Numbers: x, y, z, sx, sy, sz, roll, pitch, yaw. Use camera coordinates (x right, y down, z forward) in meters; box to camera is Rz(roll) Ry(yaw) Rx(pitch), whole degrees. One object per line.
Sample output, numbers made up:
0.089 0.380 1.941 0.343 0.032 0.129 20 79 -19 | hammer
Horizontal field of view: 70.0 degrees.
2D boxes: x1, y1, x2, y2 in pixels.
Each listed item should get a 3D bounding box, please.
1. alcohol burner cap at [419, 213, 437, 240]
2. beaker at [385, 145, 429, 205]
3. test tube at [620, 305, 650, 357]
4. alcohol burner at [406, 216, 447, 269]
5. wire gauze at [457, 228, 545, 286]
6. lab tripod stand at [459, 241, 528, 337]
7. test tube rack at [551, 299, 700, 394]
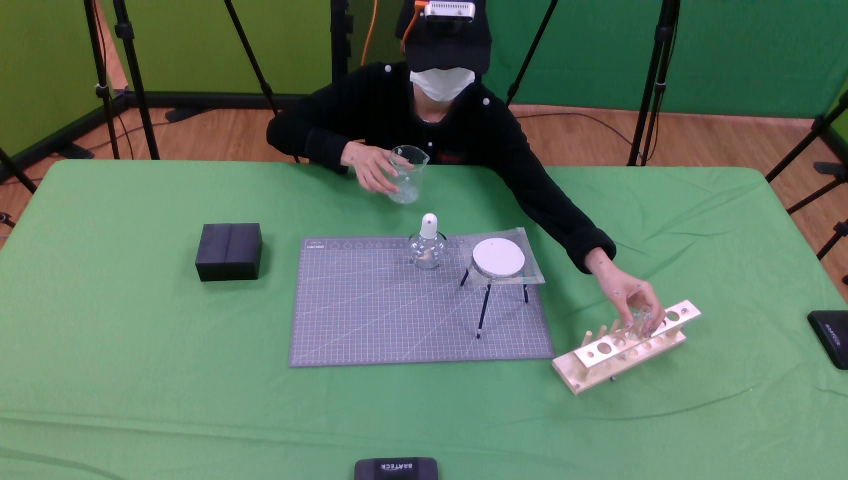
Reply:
0.009 -0.027 1.109 0.034 0.048 0.033 3 44 -3 | alcohol burner cap
-0.036 -0.126 1.200 0.084 0.101 0.073 -11 53 -19 | beaker
0.335 0.148 0.966 0.017 0.151 0.017 -1 52 2 | test tube
0.006 -0.002 1.134 0.078 0.120 0.077 2 48 -2 | alcohol burner
0.126 0.029 1.006 0.125 0.011 0.120 -4 46 -10 | wire gauze
0.122 0.075 1.054 0.148 0.132 0.147 3 44 -2 | lab tripod stand
0.339 0.166 1.021 0.242 0.085 0.066 -19 50 -21 | test tube rack
